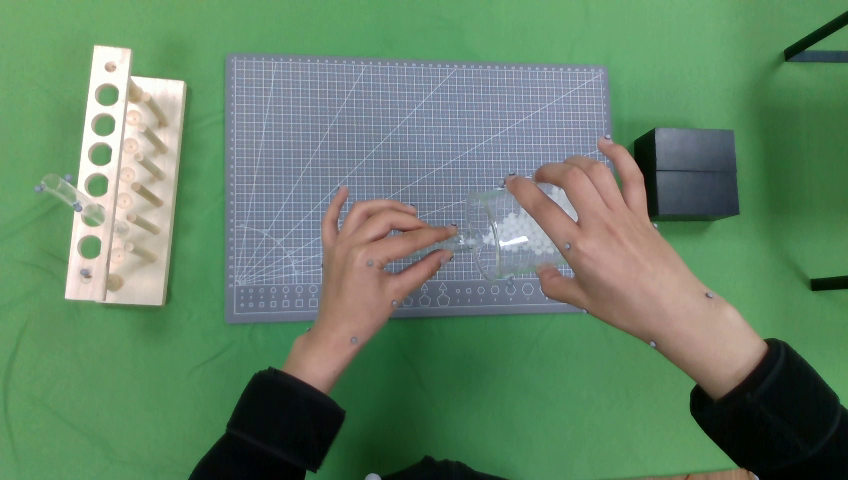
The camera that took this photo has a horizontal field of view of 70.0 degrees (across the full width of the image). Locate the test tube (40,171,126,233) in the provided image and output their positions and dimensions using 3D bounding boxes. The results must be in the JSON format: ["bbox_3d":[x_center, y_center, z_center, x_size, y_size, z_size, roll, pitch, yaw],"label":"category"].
[{"bbox_3d":[-0.306,-0.031,0.554,0.017,0.150,0.017,2,76,-6],"label":"test tube"}]

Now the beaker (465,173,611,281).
[{"bbox_3d":[0.090,-0.012,0.487,0.100,0.084,0.074,-11,87,-11],"label":"beaker"}]

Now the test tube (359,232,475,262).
[{"bbox_3d":[-0.012,0.007,0.567,0.017,0.150,0.017,7,79,-43],"label":"test tube"}]

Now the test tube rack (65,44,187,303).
[{"bbox_3d":[-0.294,-0.061,0.609,0.067,0.085,0.241,4,83,-8],"label":"test tube rack"}]
